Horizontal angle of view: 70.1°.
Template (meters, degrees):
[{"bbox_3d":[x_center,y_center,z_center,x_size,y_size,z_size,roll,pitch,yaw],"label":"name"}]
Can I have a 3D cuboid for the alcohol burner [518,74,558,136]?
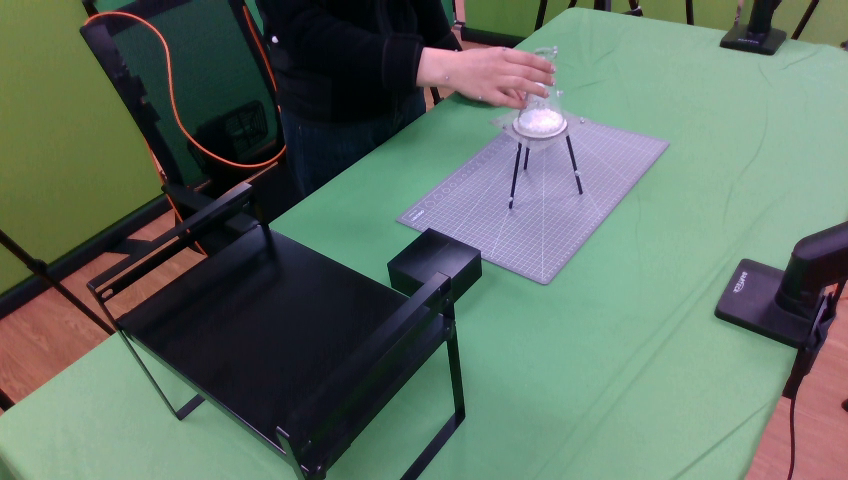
[{"bbox_3d":[0.221,-0.265,1.179,0.078,0.119,0.077,-6,39,5],"label":"alcohol burner"}]

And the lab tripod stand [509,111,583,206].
[{"bbox_3d":[0.197,-0.139,1.020,0.148,0.132,0.147,-3,39,3],"label":"lab tripod stand"}]

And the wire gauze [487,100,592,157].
[{"bbox_3d":[0.185,-0.187,0.974,0.122,0.011,0.124,-28,47,-22],"label":"wire gauze"}]

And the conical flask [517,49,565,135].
[{"bbox_3d":[0.183,-0.231,0.936,0.075,0.122,0.075,-4,40,3],"label":"conical flask"}]

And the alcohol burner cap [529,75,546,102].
[{"bbox_3d":[0.218,-0.292,1.156,0.034,0.048,0.033,-3,46,4],"label":"alcohol burner cap"}]
